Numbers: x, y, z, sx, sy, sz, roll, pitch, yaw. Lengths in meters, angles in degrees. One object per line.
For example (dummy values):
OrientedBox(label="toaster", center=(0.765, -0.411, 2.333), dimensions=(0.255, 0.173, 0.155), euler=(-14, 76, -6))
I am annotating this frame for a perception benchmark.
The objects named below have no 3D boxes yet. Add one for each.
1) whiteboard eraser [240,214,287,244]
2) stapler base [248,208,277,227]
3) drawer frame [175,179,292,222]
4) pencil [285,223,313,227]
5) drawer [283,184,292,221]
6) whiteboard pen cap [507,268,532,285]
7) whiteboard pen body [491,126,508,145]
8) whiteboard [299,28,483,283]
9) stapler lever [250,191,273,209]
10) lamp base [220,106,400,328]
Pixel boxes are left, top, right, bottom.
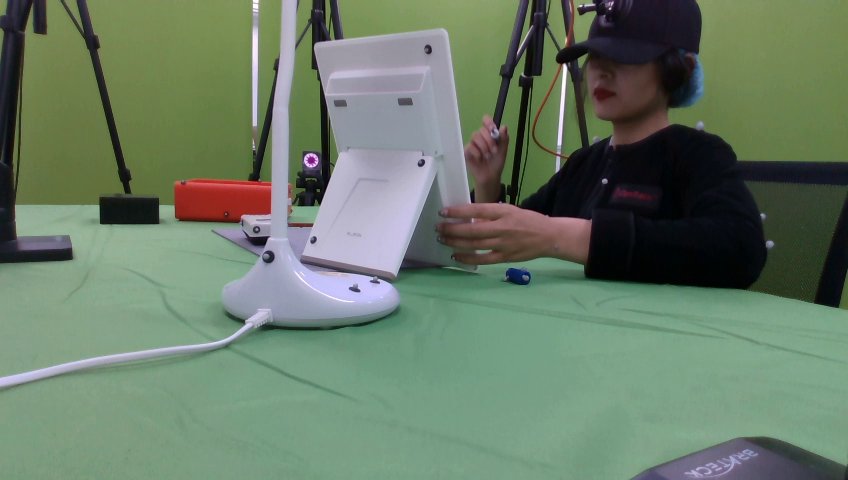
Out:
OrientedBox(label="whiteboard eraser", center=(-0.256, -0.018, 0.958), dimensions=(0.056, 0.042, 0.112), euler=(0, 8, -25))
OrientedBox(label="stapler base", center=(-0.350, -0.053, 1.310), dimensions=(0.041, 0.024, 0.130), euler=(1, 13, -3))
OrientedBox(label="drawer frame", center=(-0.402, -0.087, 1.311), dimensions=(0.214, 0.082, 0.201), euler=(1, 8, -9))
OrientedBox(label="pencil", center=(-0.234, -0.030, 1.198), dimensions=(0.195, 0.012, 0.012), euler=(0, 8, -20))
OrientedBox(label="drawer", center=(-0.397, -0.086, 1.314), dimensions=(0.212, 0.073, 0.194), euler=(1, 8, -9))
OrientedBox(label="whiteboard pen cap", center=(0.113, 0.043, 0.726), dimensions=(0.018, 0.018, 0.033), euler=(-2, 9, -28))
OrientedBox(label="whiteboard pen body", center=(0.141, -0.198, 1.137), dimensions=(0.017, 0.017, 0.141), euler=(5, 0, 16))
OrientedBox(label="whiteboard", center=(-0.075, -0.082, 0.741), dimensions=(0.216, 0.305, 0.144), euler=(9, 30, 38))
OrientedBox(label="stapler lever", center=(-0.351, -0.086, 1.306), dimensions=(0.027, 0.040, 0.118), euler=(1, 5, -3))
OrientedBox(label="lamp base", center=(-0.101, -0.023, 0.531), dimensions=(0.160, 0.180, 0.179), euler=(4, 10, 10))
